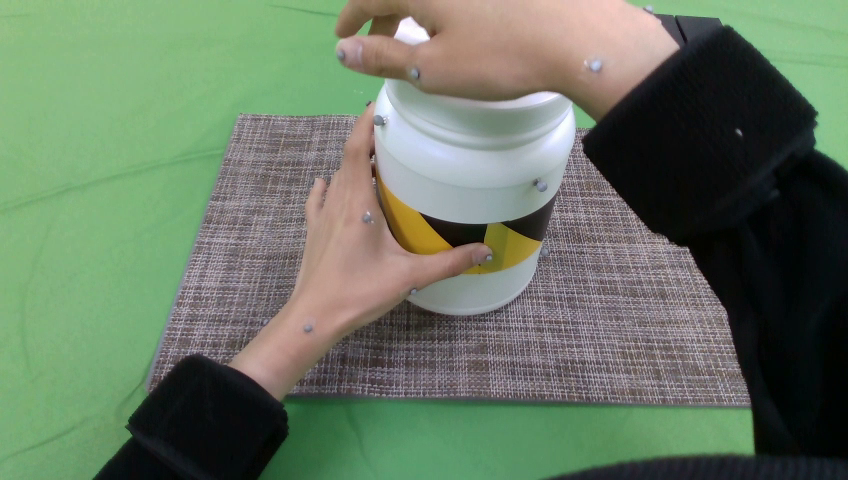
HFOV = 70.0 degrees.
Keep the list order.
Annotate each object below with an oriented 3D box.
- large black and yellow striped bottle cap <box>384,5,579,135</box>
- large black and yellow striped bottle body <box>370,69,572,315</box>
[{"bbox_3d":[0.033,-0.104,0.358,0.115,0.019,0.114,2,48,-2],"label":"large black and yellow striped bottle cap"},{"bbox_3d":[0.028,-0.049,0.424,0.131,0.185,0.129,2,49,-2],"label":"large black and yellow striped bottle body"}]
